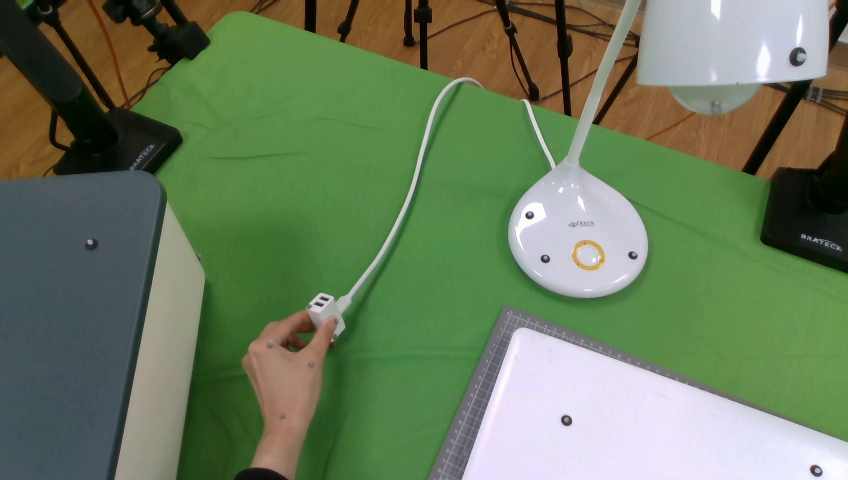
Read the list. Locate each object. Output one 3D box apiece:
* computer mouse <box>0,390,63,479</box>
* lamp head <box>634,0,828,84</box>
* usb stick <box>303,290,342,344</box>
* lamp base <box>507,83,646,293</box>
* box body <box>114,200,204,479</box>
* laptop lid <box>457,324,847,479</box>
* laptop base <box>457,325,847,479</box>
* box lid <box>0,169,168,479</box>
[{"bbox_3d":[-0.386,0.181,0.568,0.063,0.041,0.116,-29,22,-6],"label":"computer mouse"},{"bbox_3d":[0.189,-0.160,0.378,0.112,0.112,0.123,-6,102,-3],"label":"lamp head"},{"bbox_3d":[-0.104,0.083,0.633,0.021,0.060,0.027,15,43,30],"label":"usb stick"},{"bbox_3d":[0.171,-0.061,0.645,0.161,0.182,0.177,-13,56,-8],"label":"lamp base"},{"bbox_3d":[-0.357,0.136,0.537,0.254,0.162,0.360,-3,59,-2],"label":"box body"},{"bbox_3d":[0.213,0.233,0.545,0.355,0.013,0.240,20,63,12],"label":"laptop lid"},{"bbox_3d":[0.214,0.237,0.557,0.353,0.023,0.234,19,64,11],"label":"laptop base"},{"bbox_3d":[-0.357,0.095,0.475,0.263,0.015,0.368,-3,59,-2],"label":"box lid"}]
